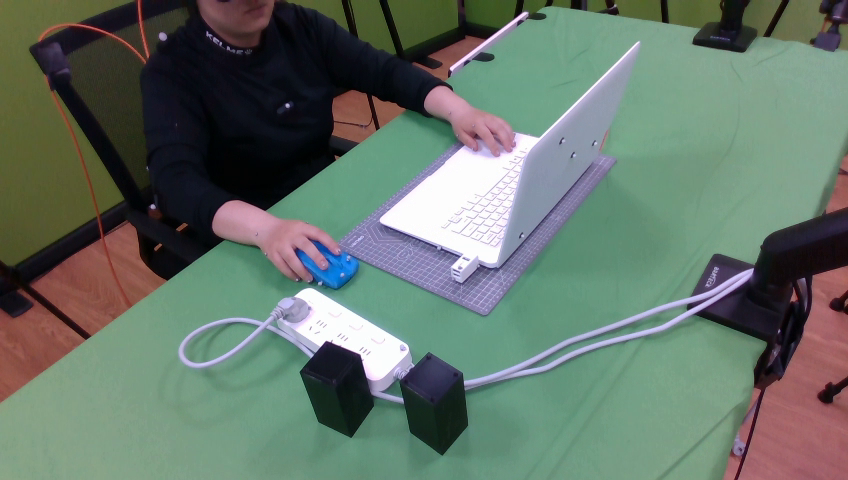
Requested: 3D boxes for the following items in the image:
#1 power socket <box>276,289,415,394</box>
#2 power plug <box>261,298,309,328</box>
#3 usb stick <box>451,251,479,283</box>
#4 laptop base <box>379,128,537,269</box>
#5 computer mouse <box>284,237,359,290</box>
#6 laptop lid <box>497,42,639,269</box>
[{"bbox_3d":[-0.114,0.133,0.821,0.225,0.033,0.072,25,49,33],"label":"power socket"},{"bbox_3d":[-0.192,0.107,0.831,0.073,0.053,0.035,-32,43,-25],"label":"power plug"},{"bbox_3d":[0.066,0.036,0.899,0.021,0.027,0.059,22,45,32],"label":"usb stick"},{"bbox_3d":[0.118,-0.088,1.058,0.233,0.023,0.355,19,47,32],"label":"laptop base"},{"bbox_3d":[-0.161,0.034,0.943,0.116,0.041,0.063,23,47,25],"label":"computer mouse"},{"bbox_3d":[0.221,-0.130,0.913,0.013,0.242,0.357,31,51,21],"label":"laptop lid"}]
